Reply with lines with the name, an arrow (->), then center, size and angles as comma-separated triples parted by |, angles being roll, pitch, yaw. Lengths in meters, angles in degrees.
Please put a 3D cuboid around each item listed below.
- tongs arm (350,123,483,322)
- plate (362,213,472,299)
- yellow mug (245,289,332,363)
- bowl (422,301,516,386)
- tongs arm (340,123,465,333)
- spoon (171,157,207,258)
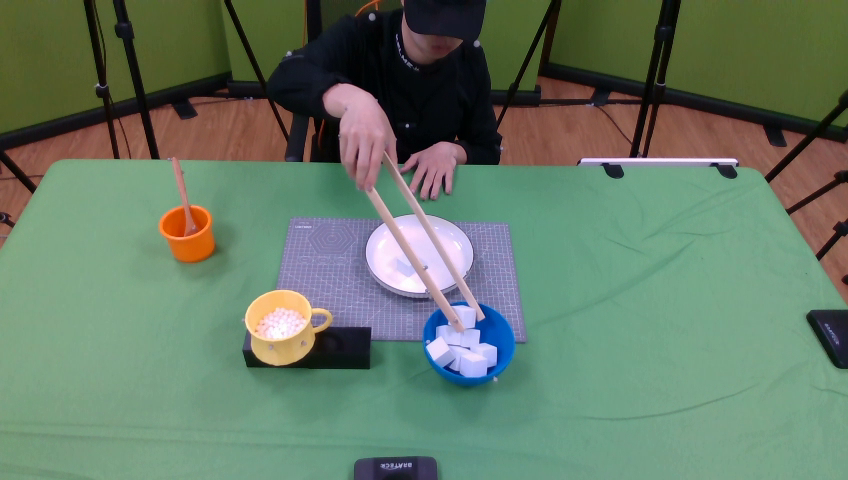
tongs arm -> -0.012, -0.032, 1.002 | 0.028, 0.028, 0.386 | -28, 82, -27
plate -> -0.014, 0.034, 1.150 | 0.208, 0.039, 0.206 | 3, 46, -2
yellow mug -> -0.211, 0.132, 0.954 | 0.131, 0.064, 0.099 | -9, 48, -14
bowl -> 0.069, 0.182, 0.990 | 0.151, 0.077, 0.150 | 2, 47, -2
tongs arm -> -0.033, -0.022, 0.988 | 0.051, 0.026, 0.384 | -31, 83, -31
spoon -> -0.444, -0.061, 1.133 | 0.042, 0.194, 0.021 | -12, 4, -19
